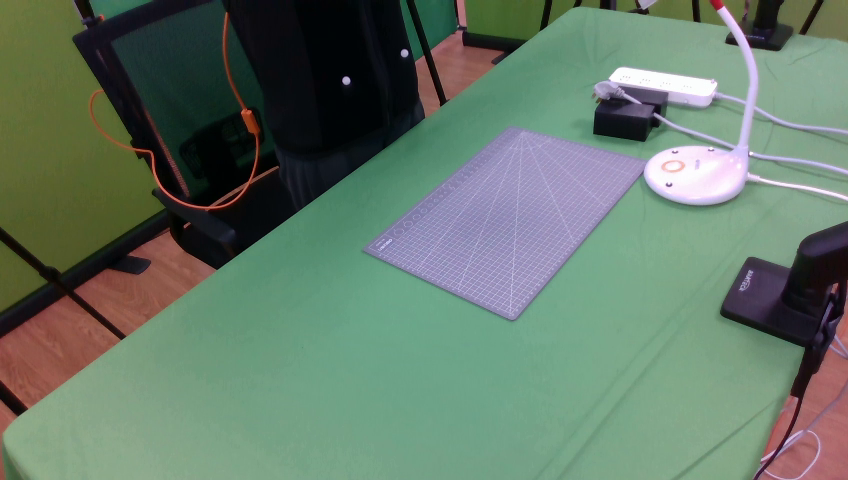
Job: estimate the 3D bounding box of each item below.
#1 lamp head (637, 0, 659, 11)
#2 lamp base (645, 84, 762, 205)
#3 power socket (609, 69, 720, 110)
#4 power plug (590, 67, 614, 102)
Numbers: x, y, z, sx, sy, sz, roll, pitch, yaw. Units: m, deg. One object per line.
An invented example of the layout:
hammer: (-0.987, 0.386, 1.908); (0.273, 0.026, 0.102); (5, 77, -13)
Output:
lamp head: (0.330, -0.391, 0.827); (0.122, 0.113, 0.112); (-21, 35, 25)
lamp base: (0.461, -0.170, 0.975); (0.179, 0.181, 0.160); (3, 41, 11)
power socket: (0.492, -0.315, 1.256); (0.225, 0.033, 0.072); (20, 49, 30)
power plug: (0.355, -0.304, 1.198); (0.035, 0.052, 0.072); (42, 42, -8)
